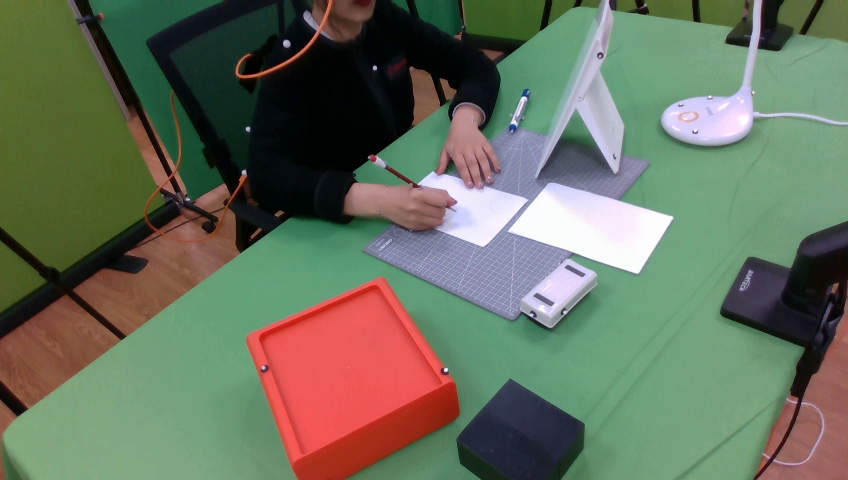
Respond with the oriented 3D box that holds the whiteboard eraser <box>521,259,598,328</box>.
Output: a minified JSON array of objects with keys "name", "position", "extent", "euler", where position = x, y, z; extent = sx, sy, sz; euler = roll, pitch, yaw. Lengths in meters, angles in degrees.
[{"name":"whiteboard eraser","position":[0.189,0.076,0.843],"extent":[0.055,0.042,0.113],"euler":[29,53,37]}]

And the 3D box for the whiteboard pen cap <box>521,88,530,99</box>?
[{"name":"whiteboard pen cap","position":[0.218,-0.312,1.301],"extent":[0.018,0.018,0.033],"euler":[6,46,18]}]

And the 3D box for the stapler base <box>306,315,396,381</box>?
[{"name":"stapler base","position":[-0.101,0.139,0.819],"extent":[0.131,0.024,0.041],"euler":[-31,37,-13]}]

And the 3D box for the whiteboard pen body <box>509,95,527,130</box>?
[{"name":"whiteboard pen body","position":[0.199,-0.273,1.261],"extent":[0.017,0.017,0.140],"euler":[8,44,19]}]

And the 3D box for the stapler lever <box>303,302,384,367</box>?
[{"name":"stapler lever","position":[-0.108,0.123,0.805],"extent":[0.118,0.040,0.026],"euler":[-27,36,-15]}]

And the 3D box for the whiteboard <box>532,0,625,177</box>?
[{"name":"whiteboard","position":[0.321,-0.258,1.050],"extent":[0.144,0.306,0.217],"euler":[21,45,5]}]

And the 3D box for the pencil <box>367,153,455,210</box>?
[{"name":"pencil","position":[-0.016,-0.091,0.985],"extent":[0.012,0.196,0.012],"euler":[-29,46,36]}]

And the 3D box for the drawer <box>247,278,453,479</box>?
[{"name":"drawer","position":[-0.096,0.167,0.758],"extent":[0.195,0.073,0.210],"euler":[-22,43,-16]}]

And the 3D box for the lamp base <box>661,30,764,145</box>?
[{"name":"lamp base","position":[0.535,-0.287,1.096],"extent":[0.179,0.181,0.159],"euler":[-10,40,-4]}]

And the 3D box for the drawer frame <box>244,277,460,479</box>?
[{"name":"drawer frame","position":[-0.093,0.167,0.755],"extent":[0.202,0.083,0.211],"euler":[-23,43,-17]}]
